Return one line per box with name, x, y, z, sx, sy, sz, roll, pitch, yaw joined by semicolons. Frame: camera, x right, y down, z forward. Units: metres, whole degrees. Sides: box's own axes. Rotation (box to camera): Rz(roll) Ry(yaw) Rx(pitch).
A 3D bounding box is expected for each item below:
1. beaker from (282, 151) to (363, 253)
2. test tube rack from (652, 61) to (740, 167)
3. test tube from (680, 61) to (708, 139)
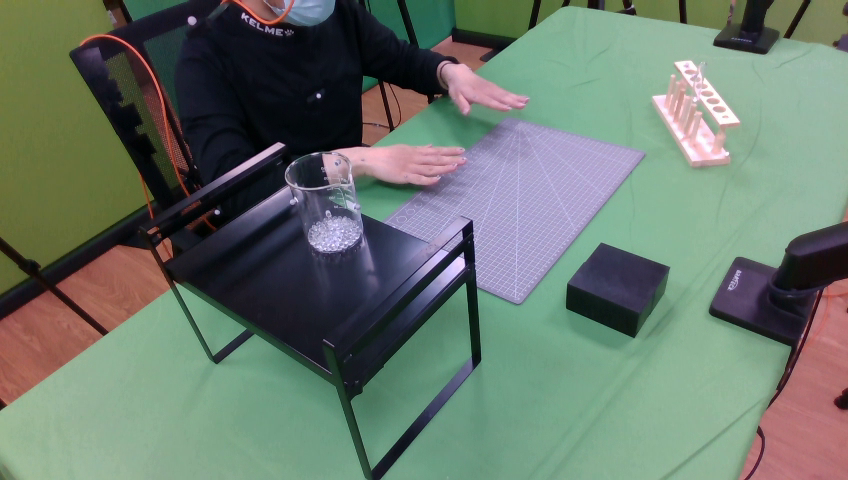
beaker;-0.110;-0.041;0.697;0.083;0.101;0.074;18;47;26
test tube rack;0.499;-0.242;1.130;0.067;0.085;0.241;-5;41;3
test tube;0.476;-0.245;1.068;0.017;0.151;0.017;-3;42;3
